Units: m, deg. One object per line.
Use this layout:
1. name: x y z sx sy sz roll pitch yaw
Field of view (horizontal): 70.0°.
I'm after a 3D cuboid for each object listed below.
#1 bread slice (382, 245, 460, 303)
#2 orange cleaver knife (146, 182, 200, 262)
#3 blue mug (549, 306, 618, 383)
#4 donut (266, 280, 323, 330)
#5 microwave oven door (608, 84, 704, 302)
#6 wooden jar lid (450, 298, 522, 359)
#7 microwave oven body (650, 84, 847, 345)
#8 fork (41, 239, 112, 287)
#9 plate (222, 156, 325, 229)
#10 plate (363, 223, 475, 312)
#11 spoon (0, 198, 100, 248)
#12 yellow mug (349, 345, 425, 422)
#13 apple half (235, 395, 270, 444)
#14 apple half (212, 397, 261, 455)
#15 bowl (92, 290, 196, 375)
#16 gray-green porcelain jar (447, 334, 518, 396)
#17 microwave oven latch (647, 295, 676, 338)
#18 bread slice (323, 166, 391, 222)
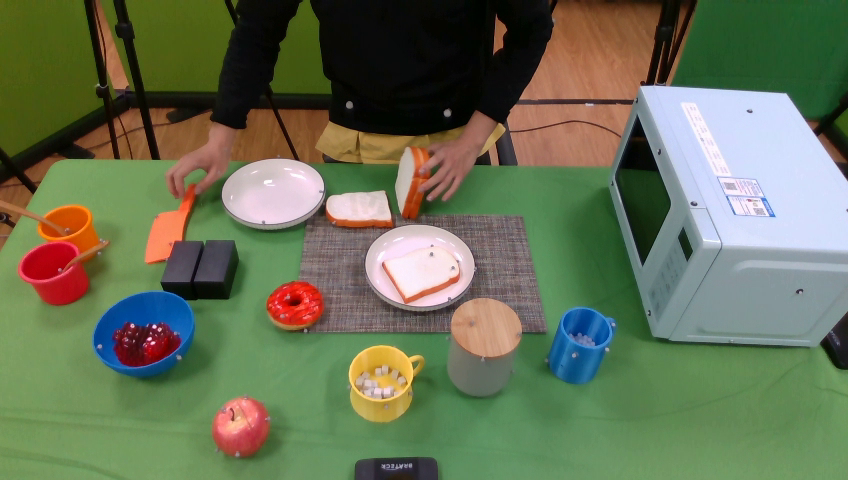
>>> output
1. bread slice: 0.000 0.055 1.129 0.131 0.019 0.104 -20 52 -20
2. orange cleaver knife: -0.494 -0.039 1.198 0.077 0.012 0.210 -4 48 2
3. blue mug: 0.269 0.167 0.997 0.116 0.106 0.082 -19 50 -21
4. donut: -0.223 0.112 1.051 0.099 0.048 0.098 2 46 -2
5. microwave oven door: 0.424 -0.096 1.138 0.039 0.245 0.353 3 46 -1
6. wooden jar lid: 0.093 0.135 0.914 0.108 0.021 0.107 2 48 -3
7. microwave oven body: 0.569 -0.054 1.116 0.326 0.261 0.439 2 46 -1
8. fork: -0.591 0.040 1.028 0.207 0.019 0.028 -27 37 29
9. plate: -0.307 -0.095 1.251 0.209 0.038 0.208 2 47 -2
10. plate: -0.009 0.054 1.126 0.208 0.039 0.206 2 46 -2
11. spoon: -0.684 -0.035 1.092 0.021 0.195 0.041 -32 42 28
12. yellow mug: -0.054 0.217 0.954 0.131 0.064 0.099 -23 52 -25
13. apple half: -0.245 0.259 0.893 0.033 0.082 0.081 -29 55 -22
14. apple half: -0.276 0.276 0.877 0.053 0.075 0.080 -29 58 -21
15. bowl: -0.436 0.161 0.971 0.151 0.077 0.150 2 46 -2
16. gray-green porcelain jar: 0.091 0.178 0.960 0.106 0.127 0.105 2 46 -2
17. microwave oven latch: 0.413 0.133 1.060 0.030 0.029 0.078 4 46 1
18. bread slice: -0.140 -0.092 1.224 0.134 0.018 0.106 -19 51 5
